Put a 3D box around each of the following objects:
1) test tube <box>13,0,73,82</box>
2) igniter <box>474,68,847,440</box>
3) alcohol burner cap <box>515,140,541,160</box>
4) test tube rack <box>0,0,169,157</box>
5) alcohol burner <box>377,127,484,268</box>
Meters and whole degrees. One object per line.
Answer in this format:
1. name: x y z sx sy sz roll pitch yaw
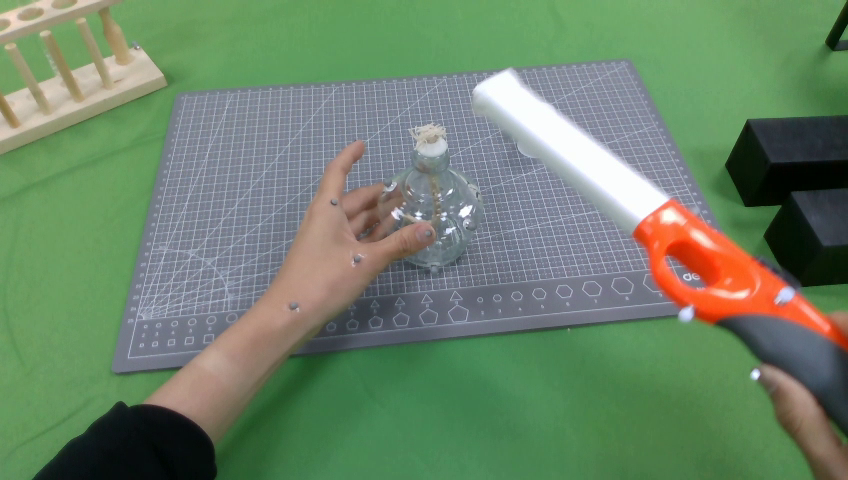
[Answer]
1. test tube: -0.347 -0.207 0.525 0.017 0.152 0.017 -4 43 4
2. igniter: 0.127 -0.003 0.317 0.057 0.025 0.274 -32 64 -24
3. alcohol burner cap: 0.098 -0.096 0.521 0.034 0.048 0.033 0 51 0
4. test tube rack: -0.368 -0.139 0.539 0.242 0.086 0.066 -31 57 -22
5. alcohol burner: 0.005 -0.034 0.427 0.078 0.120 0.077 1 52 0
